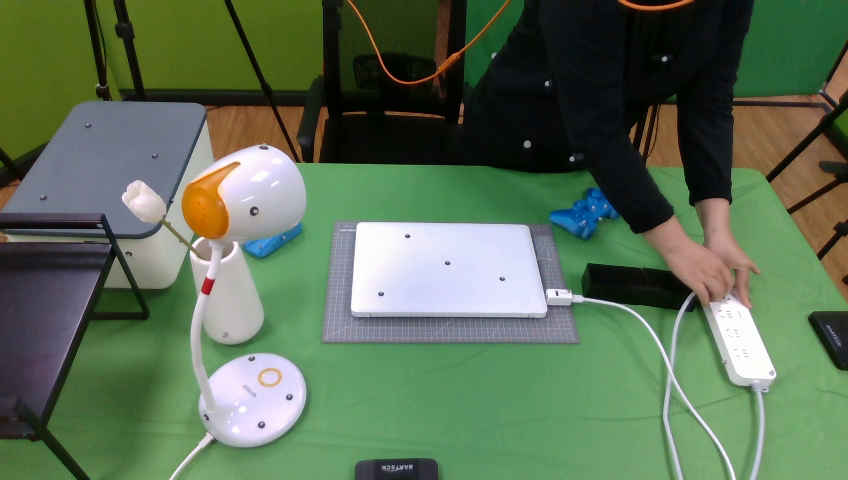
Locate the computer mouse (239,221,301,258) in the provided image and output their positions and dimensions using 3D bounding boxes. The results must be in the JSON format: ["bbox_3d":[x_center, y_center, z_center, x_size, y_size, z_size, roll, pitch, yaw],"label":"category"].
[{"bbox_3d":[-0.299,-0.016,1.177,0.062,0.041,0.117,36,58,22],"label":"computer mouse"}]

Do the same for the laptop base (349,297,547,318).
[{"bbox_3d":[0.041,0.057,1.148,0.355,0.023,0.234,1,43,-4],"label":"laptop base"}]

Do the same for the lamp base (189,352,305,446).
[{"bbox_3d":[-0.268,0.197,0.876,0.160,0.181,0.179,25,52,20],"label":"lamp base"}]

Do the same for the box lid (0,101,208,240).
[{"bbox_3d":[-0.558,-0.137,1.084,0.263,0.015,0.369,2,46,-2],"label":"box lid"}]

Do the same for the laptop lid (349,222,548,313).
[{"bbox_3d":[0.042,0.047,1.142,0.357,0.013,0.240,2,44,-3],"label":"laptop lid"}]

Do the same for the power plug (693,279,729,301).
[{"bbox_3d":[0.523,0.091,1.115,0.072,0.053,0.035,13,47,9],"label":"power plug"}]

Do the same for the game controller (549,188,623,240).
[{"bbox_3d":[0.346,-0.064,1.271,0.155,0.052,0.096,-31,58,-28],"label":"game controller"}]

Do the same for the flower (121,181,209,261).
[{"bbox_3d":[-0.328,0.030,0.904,0.038,0.364,0.044,-22,58,-1],"label":"flower"}]

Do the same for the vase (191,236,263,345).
[{"bbox_3d":[-0.317,0.081,0.971,0.098,0.201,0.097,3,47,-3],"label":"vase"}]

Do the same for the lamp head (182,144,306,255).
[{"bbox_3d":[-0.215,-0.043,0.696,0.112,0.113,0.123,23,31,17],"label":"lamp head"}]

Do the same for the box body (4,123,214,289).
[{"bbox_3d":[-0.562,-0.087,1.139,0.254,0.161,0.361,2,46,-3],"label":"box body"}]

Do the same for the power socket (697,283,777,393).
[{"bbox_3d":[0.550,0.162,1.076,0.072,0.033,0.225,2,46,-1],"label":"power socket"}]

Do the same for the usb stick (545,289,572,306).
[{"bbox_3d":[0.237,0.104,1.100,0.059,0.027,0.021,-1,48,2],"label":"usb stick"}]
